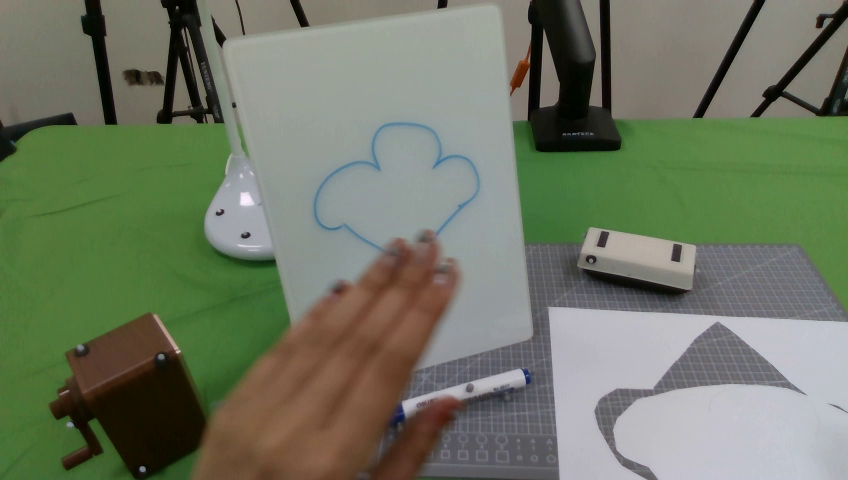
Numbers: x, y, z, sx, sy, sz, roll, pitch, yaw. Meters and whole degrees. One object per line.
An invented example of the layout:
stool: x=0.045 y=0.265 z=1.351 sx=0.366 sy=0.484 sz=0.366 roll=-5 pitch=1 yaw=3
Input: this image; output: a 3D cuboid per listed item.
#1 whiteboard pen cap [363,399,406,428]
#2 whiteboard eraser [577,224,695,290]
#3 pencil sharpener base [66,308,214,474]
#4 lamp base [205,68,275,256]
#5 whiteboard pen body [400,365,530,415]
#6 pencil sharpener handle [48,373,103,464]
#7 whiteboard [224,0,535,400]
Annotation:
whiteboard pen cap: x=-0.033 y=0.144 z=0.502 sx=0.033 sy=0.018 sz=0.018 roll=-14 pitch=39 yaw=-12
whiteboard eraser: x=0.222 y=0.018 z=0.634 sx=0.112 sy=0.042 sz=0.055 roll=12 pitch=41 yaw=19
pencil sharpener base: x=-0.223 y=0.121 z=0.478 sx=0.077 sy=0.108 sz=0.060 roll=-28 pitch=44 yaw=-28
lamp base: x=-0.197 y=-0.099 z=0.703 sx=0.160 sy=0.182 sz=0.177 roll=-32 pitch=44 yaw=-33
whiteboard pen body: x=0.023 y=0.130 z=0.514 sx=0.141 sy=0.017 sz=0.017 roll=-13 pitch=38 yaw=-11
pencil sharpener handle: x=-0.262 y=0.133 z=0.444 sx=0.031 sy=0.068 sz=0.035 roll=-28 pitch=32 yaw=-28
whiteboard: x=-0.035 y=-0.044 z=0.567 sx=0.217 sy=0.307 sz=0.142 roll=-13 pitch=19 yaw=-11
